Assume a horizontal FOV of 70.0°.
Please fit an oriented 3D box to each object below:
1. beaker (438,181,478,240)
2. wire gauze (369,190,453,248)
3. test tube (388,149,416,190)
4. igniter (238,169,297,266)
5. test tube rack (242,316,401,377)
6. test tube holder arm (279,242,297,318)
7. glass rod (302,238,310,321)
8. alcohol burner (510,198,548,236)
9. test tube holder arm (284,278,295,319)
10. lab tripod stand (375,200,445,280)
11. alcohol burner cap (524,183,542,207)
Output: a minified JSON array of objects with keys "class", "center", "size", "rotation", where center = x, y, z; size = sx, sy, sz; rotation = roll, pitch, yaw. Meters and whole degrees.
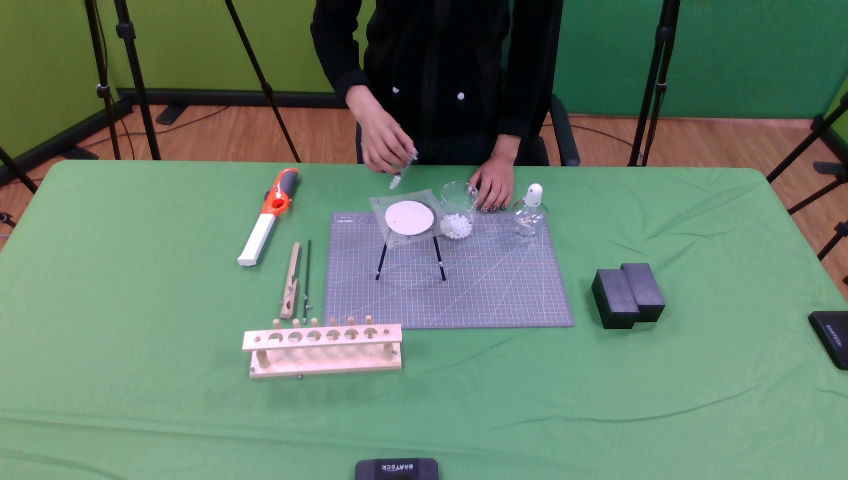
[{"class":"beaker","center":[0.066,-0.053,1.200],"size":[0.074,0.101,0.083],"rotation":[-17,50,-19]},{"class":"wire gauze","center":[-0.025,-0.042,1.064],"size":[0.121,0.011,0.124],"rotation":[-11,48,-17]},{"class":"test tube","center":[-0.045,-0.135,1.185],"size":[0.017,0.150,0.017],"rotation":[7,66,-17]},{"class":"igniter","center":[-0.313,-0.055,1.224],"size":[0.057,0.025,0.275],"rotation":[1,45,10]},{"class":"test tube rack","center":[-0.161,0.166,0.983],"size":[0.242,0.085,0.066],"rotation":[-2,46,-6]},{"class":"test tube holder arm","center":[-0.249,0.069,1.114],"size":[0.013,0.015,0.177],"rotation":[25,38,-28]},{"class":"glass rod","center":[-0.218,0.069,1.125],"size":[0.008,0.008,0.198],"rotation":[-2,47,-5]},{"class":"alcohol burner","center":[0.214,-0.066,1.214],"size":[0.078,0.119,0.077],"rotation":[3,48,-3]},{"class":"test tube holder arm","center":[-0.241,0.103,1.085],"size":[0.010,0.015,0.087],"rotation":[26,38,-27]},{"class":"lab tripod stand","center":[-0.023,0.004,1.113],"size":[0.148,0.132,0.147],"rotation":[4,45,-3]},{"class":"alcohol burner cap","center":[0.216,-0.090,1.186],"size":[0.034,0.048,0.033],"rotation":[1,55,-2]}]
